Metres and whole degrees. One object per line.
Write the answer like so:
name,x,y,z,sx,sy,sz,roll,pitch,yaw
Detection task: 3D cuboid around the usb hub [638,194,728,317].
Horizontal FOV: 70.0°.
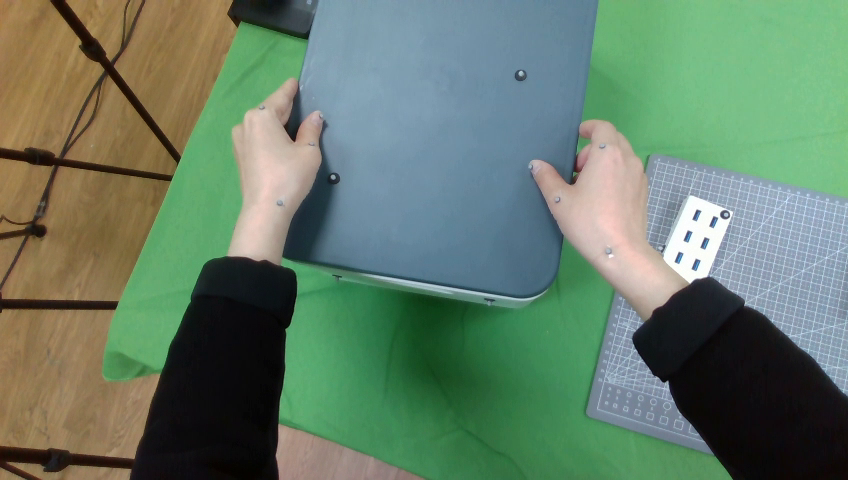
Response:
usb hub,0.276,0.016,0.645,0.049,0.025,0.125,24,83,10

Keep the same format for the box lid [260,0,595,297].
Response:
box lid,0.010,-0.142,0.553,0.263,0.015,0.370,9,79,8

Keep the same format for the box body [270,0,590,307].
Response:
box body,0.020,-0.123,0.633,0.254,0.161,0.362,9,80,8
